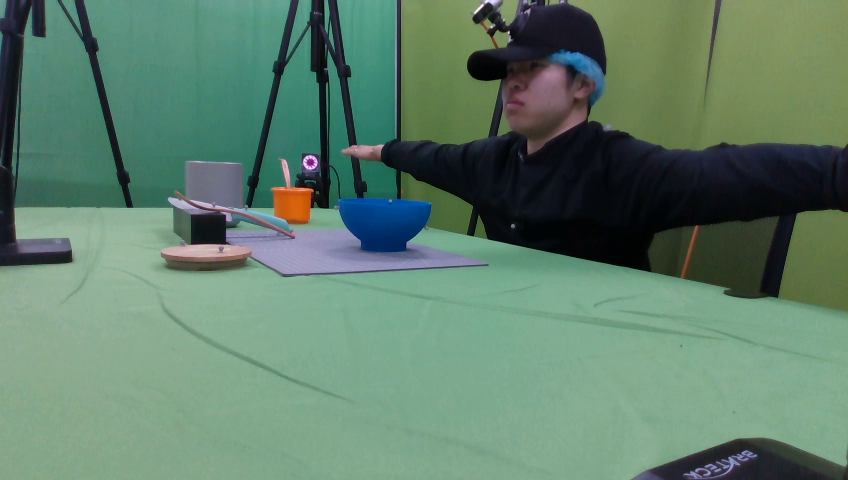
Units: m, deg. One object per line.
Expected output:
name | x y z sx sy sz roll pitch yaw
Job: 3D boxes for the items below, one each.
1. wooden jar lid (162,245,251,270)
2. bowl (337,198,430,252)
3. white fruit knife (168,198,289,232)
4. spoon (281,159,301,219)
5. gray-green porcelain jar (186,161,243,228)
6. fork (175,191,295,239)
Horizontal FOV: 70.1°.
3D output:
wooden jar lid | -0.278 0.022 0.777 0.108 0.020 0.108 2 6 0
bowl | -0.066 -0.024 0.967 0.151 0.077 0.151 2 7 0
white fruit knife | -0.329 -0.044 1.036 0.208 0.027 0.016 14 -1 -32
spoon | -0.307 -0.117 1.368 0.042 0.193 0.021 1 -37 -23
gray-green porcelain jar | -0.412 -0.090 1.193 0.106 0.126 0.106 2 7 0
fork | -0.305 -0.039 0.993 0.208 0.018 0.028 19 -9 -34
